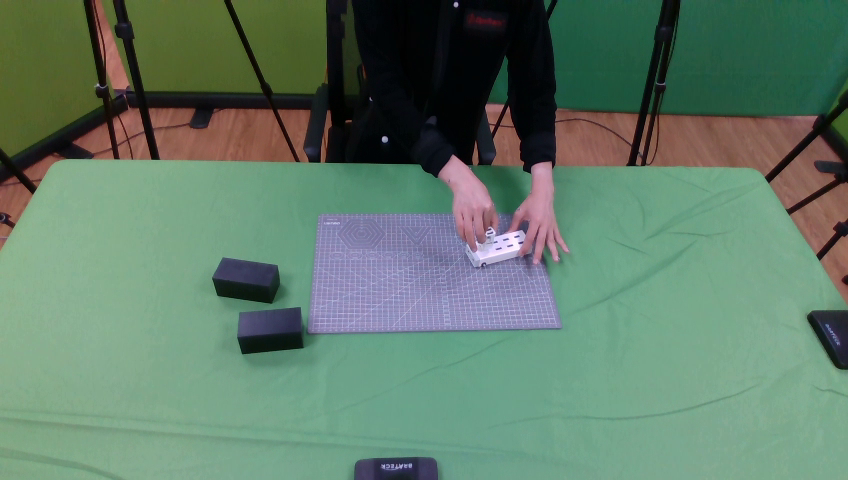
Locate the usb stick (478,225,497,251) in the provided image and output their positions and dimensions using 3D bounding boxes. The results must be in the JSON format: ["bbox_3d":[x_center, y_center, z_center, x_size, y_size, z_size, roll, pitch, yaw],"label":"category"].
[{"bbox_3d":[0.119,0.001,1.151,0.021,0.059,0.027,-13,56,-19],"label":"usb stick"}]

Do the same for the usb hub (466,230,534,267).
[{"bbox_3d":[0.148,0.017,1.186,0.125,0.025,0.049,-14,49,-16],"label":"usb hub"}]
